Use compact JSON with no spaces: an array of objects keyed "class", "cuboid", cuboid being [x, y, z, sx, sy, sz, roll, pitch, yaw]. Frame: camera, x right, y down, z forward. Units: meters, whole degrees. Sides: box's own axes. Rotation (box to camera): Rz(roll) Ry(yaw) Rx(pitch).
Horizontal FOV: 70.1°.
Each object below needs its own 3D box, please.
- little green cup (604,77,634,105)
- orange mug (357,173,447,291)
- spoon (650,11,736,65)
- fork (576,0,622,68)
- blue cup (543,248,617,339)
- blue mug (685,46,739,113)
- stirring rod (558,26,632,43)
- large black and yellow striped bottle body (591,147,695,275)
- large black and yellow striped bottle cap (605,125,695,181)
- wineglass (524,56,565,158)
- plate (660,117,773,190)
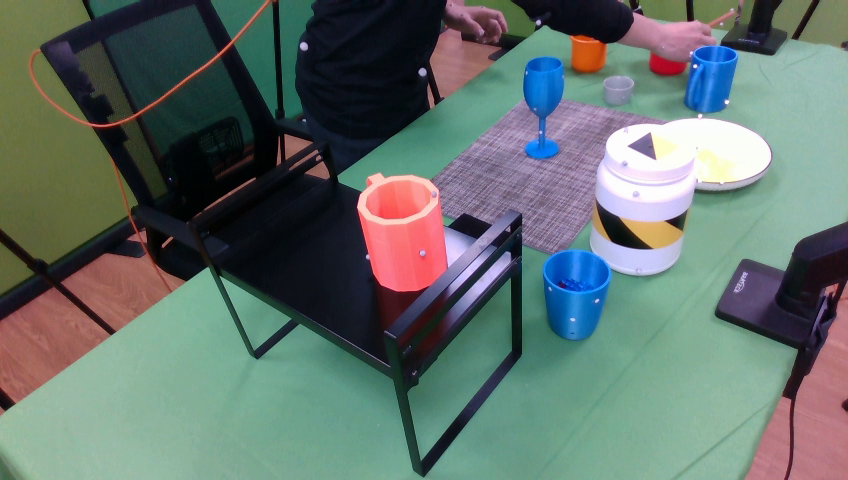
[{"class":"little green cup","cuboid":[0.407,-0.311,1.266,0.061,0.039,0.061,-5,39,4]},{"class":"orange mug","cuboid":[-0.029,-0.018,0.669,0.084,0.101,0.125,-23,46,-16]},{"class":"spoon","cuboid":[0.574,-0.431,1.297,0.193,0.022,0.041,-34,21,47]},{"class":"fork","cuboid":[0.409,-0.484,1.381,0.028,0.019,0.207,37,101,45]},{"class":"blue cup","cuboid":[0.199,0.076,0.797,0.092,0.100,0.092,-4,39,4]},{"class":"blue mug","cuboid":[0.556,-0.310,1.190,0.117,0.106,0.081,-32,46,-25]},{"class":"stirring rod","cuboid":[0.381,-0.461,1.357,0.175,0.006,0.014,23,48,29]},{"class":"large black and yellow striped bottle body","cuboid":[0.313,-0.056,0.871,0.131,0.185,0.130,-4,40,4]},{"class":"large black and yellow striped bottle cap","cuboid":[0.304,-0.120,0.817,0.115,0.019,0.114,-3,41,3]},{"class":"wineglass","cuboid":[0.218,-0.240,1.101,0.074,0.173,0.073,-5,41,4]},{"class":"plate","cuboid":[0.495,-0.148,1.063,0.209,0.038,0.208,-5,40,4]}]
